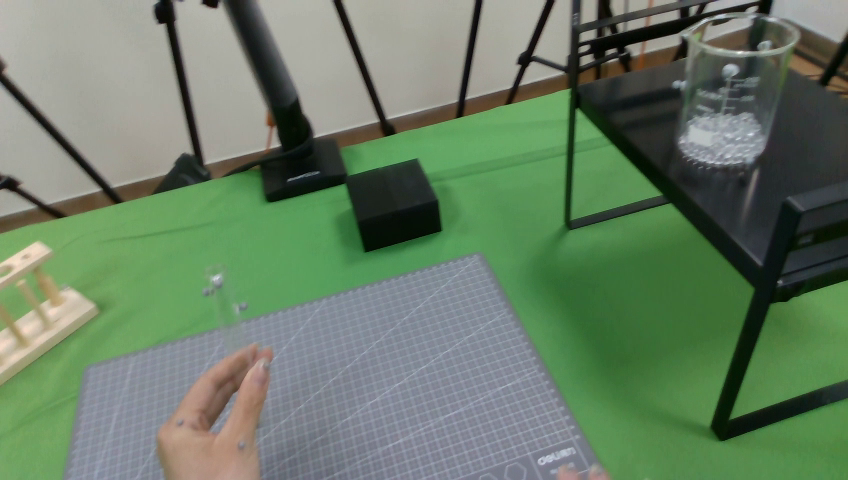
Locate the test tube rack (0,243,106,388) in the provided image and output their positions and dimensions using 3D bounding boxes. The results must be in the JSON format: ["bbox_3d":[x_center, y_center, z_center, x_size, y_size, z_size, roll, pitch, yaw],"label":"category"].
[{"bbox_3d":[-0.479,0.113,0.638,0.066,0.086,0.242,21,48,31],"label":"test tube rack"}]

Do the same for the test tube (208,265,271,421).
[{"bbox_3d":[-0.138,0.084,0.462,0.017,0.151,0.017,-3,32,2],"label":"test tube"}]

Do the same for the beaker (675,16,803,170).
[{"bbox_3d":[0.238,-0.113,0.478,0.083,0.101,0.074,21,48,32],"label":"beaker"}]
